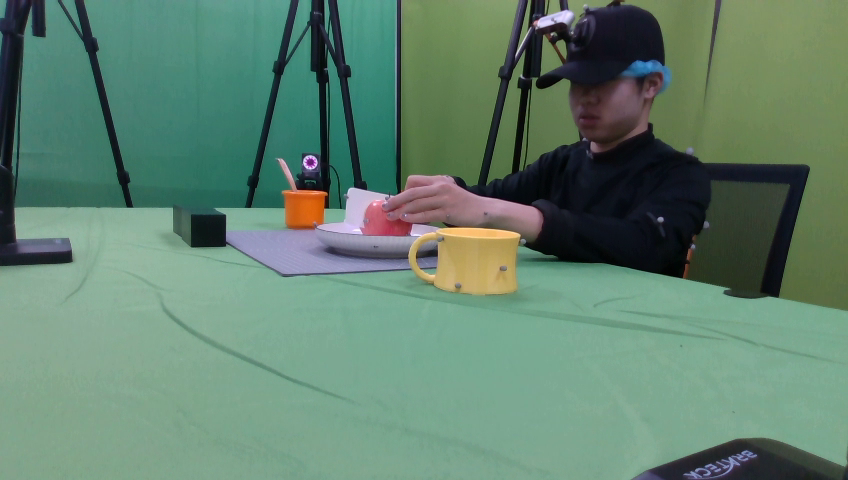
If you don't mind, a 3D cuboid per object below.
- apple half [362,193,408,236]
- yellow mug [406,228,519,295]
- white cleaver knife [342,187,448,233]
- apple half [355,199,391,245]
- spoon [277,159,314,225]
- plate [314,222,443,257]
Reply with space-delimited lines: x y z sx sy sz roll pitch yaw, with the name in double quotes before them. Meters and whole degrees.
"apple half" -0.055 -0.029 0.932 0.053 0.074 0.081 22 17 21
"yellow mug" 0.044 0.022 0.707 0.131 0.064 0.100 2 7 5
"white cleaver knife" -0.043 -0.045 0.992 0.021 0.066 0.288 1 0 34
"apple half" -0.086 -0.028 0.949 0.032 0.081 0.081 1 5 33
"spoon" -0.272 -0.103 1.260 0.042 0.193 0.021 -4 -34 -33
"plate" -0.067 -0.002 0.948 0.209 0.038 0.209 3 7 0
